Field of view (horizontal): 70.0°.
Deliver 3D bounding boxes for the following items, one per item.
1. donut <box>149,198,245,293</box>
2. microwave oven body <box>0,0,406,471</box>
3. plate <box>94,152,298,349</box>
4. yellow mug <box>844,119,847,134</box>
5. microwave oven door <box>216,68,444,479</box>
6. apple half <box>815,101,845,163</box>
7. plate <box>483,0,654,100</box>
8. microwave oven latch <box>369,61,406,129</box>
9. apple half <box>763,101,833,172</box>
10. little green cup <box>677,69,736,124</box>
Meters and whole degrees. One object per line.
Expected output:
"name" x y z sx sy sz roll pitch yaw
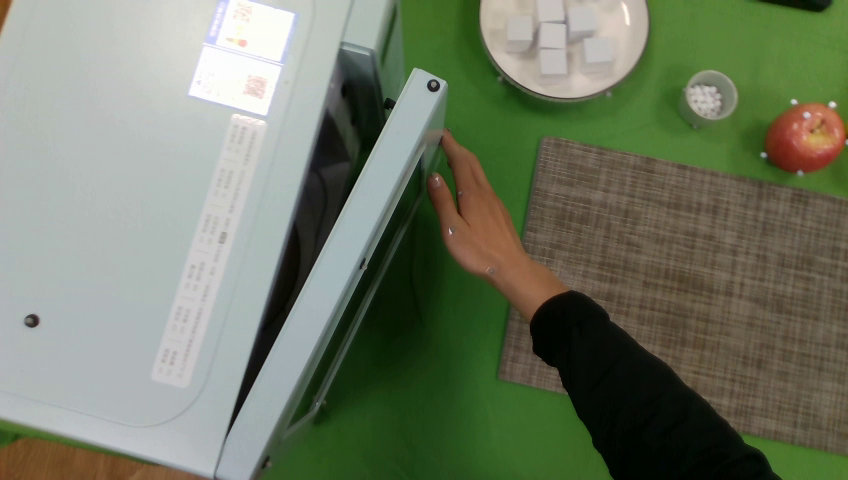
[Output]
"donut" -0.235 0.006 0.629 0.099 0.048 0.099 0 86 2
"microwave oven body" -0.231 -0.054 0.598 0.326 0.260 0.440 15 84 0
"plate" -0.237 0.011 0.644 0.209 0.038 0.208 0 84 -1
"yellow mug" 0.571 -0.120 0.723 0.131 0.064 0.099 23 83 2
"microwave oven door" -0.074 0.035 0.586 0.039 0.244 0.355 25 83 3
"apple half" 0.472 -0.128 0.718 0.033 0.081 0.081 -15 83 2
"plate" 0.174 -0.269 0.747 0.208 0.039 0.207 0 83 -1
"microwave oven latch" -0.043 -0.173 0.713 0.030 0.029 0.079 18 84 1
"apple half" 0.434 -0.118 0.717 0.053 0.075 0.080 -14 87 2
"little green cup" 0.342 -0.172 0.739 0.061 0.039 0.061 0 83 -1
